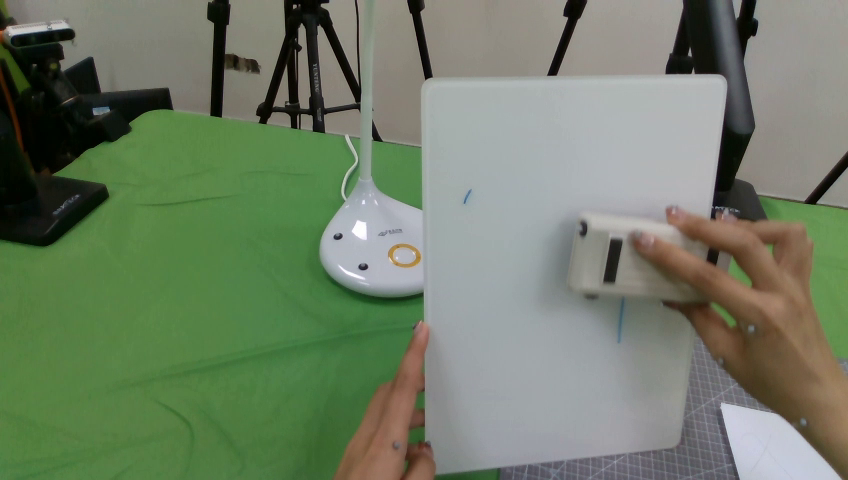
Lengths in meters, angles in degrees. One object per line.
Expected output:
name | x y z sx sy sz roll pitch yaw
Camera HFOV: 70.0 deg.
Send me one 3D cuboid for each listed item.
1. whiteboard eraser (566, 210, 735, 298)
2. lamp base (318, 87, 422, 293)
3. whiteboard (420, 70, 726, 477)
whiteboard eraser | 0.158 0.010 0.430 0.113 0.056 0.041 4 15 -12
lamp base | -0.044 -0.062 0.657 0.161 0.182 0.177 -21 41 -30
whiteboard | 0.096 0.015 0.510 0.218 0.307 0.143 -3 18 -8
